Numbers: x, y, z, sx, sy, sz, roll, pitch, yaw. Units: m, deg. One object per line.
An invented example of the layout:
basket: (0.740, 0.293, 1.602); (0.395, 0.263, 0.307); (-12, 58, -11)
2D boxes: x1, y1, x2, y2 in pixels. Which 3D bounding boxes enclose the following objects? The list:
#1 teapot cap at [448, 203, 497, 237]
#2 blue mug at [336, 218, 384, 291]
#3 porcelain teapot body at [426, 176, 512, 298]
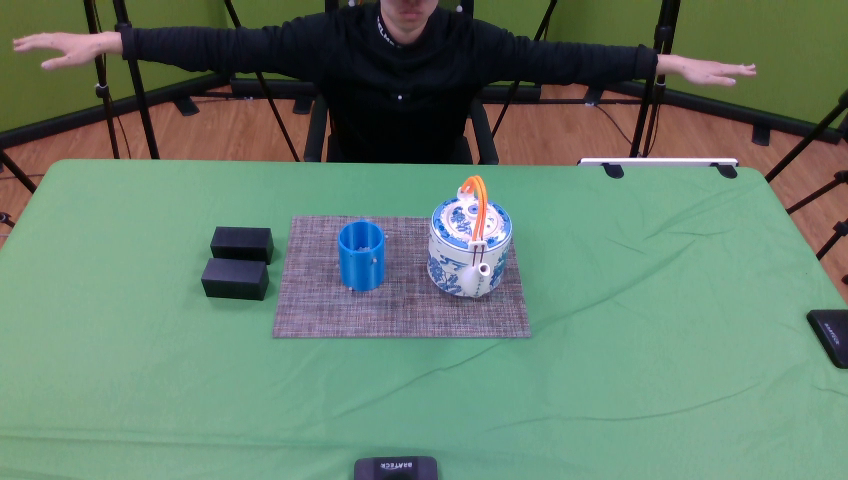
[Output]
teapot cap: (0.084, -0.038, 1.041); (0.085, 0.044, 0.084); (0, 48, 0)
blue mug: (-0.115, 0.018, 1.110); (0.082, 0.106, 0.116); (1, 46, -4)
porcelain teapot body: (0.085, 0.009, 1.051); (0.145, 0.226, 0.204); (-5, 47, -9)
